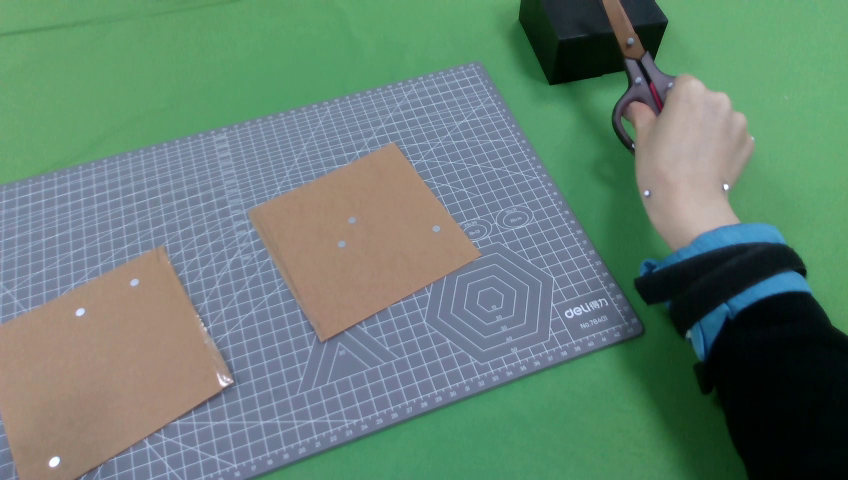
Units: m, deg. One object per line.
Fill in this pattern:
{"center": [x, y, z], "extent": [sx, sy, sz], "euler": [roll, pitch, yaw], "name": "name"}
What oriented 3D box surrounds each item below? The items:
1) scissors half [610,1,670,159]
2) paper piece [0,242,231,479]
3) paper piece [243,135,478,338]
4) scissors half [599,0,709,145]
{"center": [0.158, -0.147, 0.488], "extent": [0.040, 0.013, 0.174], "euler": [-13, 79, 5], "name": "scissors half"}
{"center": [-0.218, 0.077, 0.408], "extent": [0.138, 0.009, 0.134], "euler": [-30, 57, -15], "name": "paper piece"}
{"center": [-0.051, -0.010, 0.461], "extent": [0.136, 0.004, 0.134], "euler": [-27, 62, -15], "name": "paper piece"}
{"center": [0.176, -0.154, 0.485], "extent": [0.040, 0.013, 0.174], "euler": [-29, 78, 8], "name": "scissors half"}
